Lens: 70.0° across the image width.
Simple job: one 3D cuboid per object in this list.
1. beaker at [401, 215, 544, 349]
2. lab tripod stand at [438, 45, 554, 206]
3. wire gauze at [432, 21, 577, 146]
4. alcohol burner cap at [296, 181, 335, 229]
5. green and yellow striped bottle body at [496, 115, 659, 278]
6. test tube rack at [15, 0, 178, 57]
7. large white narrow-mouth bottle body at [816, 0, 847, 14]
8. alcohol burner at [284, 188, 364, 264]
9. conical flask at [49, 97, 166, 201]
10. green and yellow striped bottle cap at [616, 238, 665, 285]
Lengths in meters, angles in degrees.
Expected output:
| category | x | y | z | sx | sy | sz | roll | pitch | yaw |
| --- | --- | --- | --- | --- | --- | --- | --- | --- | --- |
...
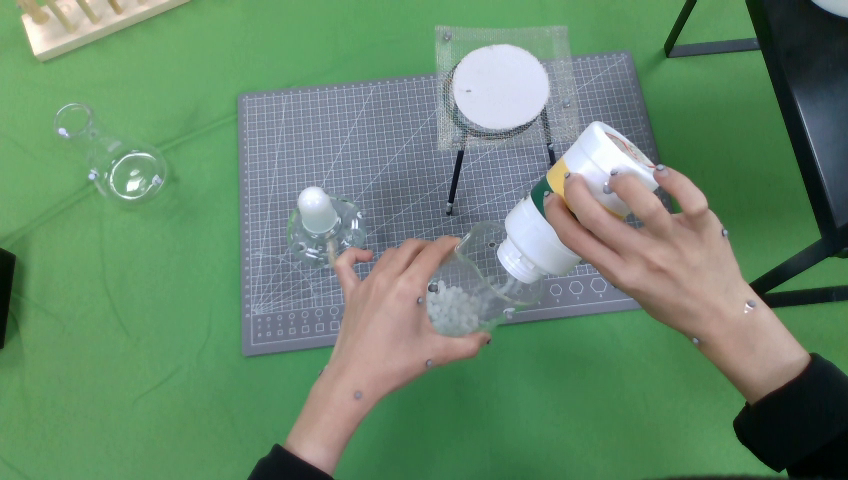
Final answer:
| category | x | y | z | sx | sy | sz | roll | pitch | yaw |
| --- | --- | --- | --- | --- | --- | --- | --- | --- | --- |
| beaker | 0.032 | 0.037 | 0.483 | 0.084 | 0.100 | 0.073 | 16 | 48 | -31 |
| lab tripod stand | 0.064 | -0.114 | 0.592 | 0.148 | 0.132 | 0.147 | 0 | 69 | 0 |
| wire gauze | 0.069 | -0.141 | 0.530 | 0.121 | 0.011 | 0.124 | -1 | 71 | 0 |
| alcohol burner cap | -0.099 | -0.034 | 0.541 | 0.034 | 0.048 | 0.033 | 1 | 64 | -1 |
| green and yellow striped bottle body | 0.103 | -0.025 | 0.437 | 0.063 | 0.063 | 0.120 | 49 | 119 | 16 |
| test tube rack | -0.362 | -0.308 | 0.697 | 0.242 | 0.086 | 0.066 | -26 | 72 | -7 |
| large white narrow-mouth bottle body | 0.351 | -0.257 | 0.415 | 0.102 | 0.196 | 0.101 | 0 | 69 | 1 |
| alcohol burner | -0.098 | -0.020 | 0.575 | 0.078 | 0.120 | 0.077 | 0 | 69 | 0 |
| conical flask | -0.319 | -0.094 | 0.604 | 0.075 | 0.122 | 0.075 | -1 | 70 | 2 |
| green and yellow striped bottle cap | 0.216 | 0.021 | 0.604 | 0.045 | 0.020 | 0.045 | -1 | 71 | 4 |
